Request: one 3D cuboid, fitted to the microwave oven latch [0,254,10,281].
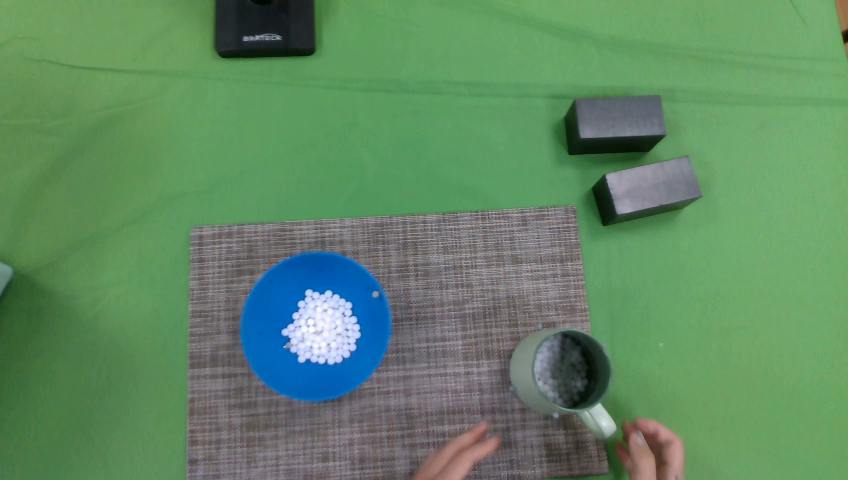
[{"bbox_3d":[-0.475,0.048,0.642,0.030,0.029,0.079,27,79,3],"label":"microwave oven latch"}]

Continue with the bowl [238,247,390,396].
[{"bbox_3d":[-0.111,0.088,0.641,0.151,0.077,0.150,0,78,-2],"label":"bowl"}]

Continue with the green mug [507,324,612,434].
[{"bbox_3d":[0.147,0.144,0.626,0.092,0.105,0.125,-35,81,-9],"label":"green mug"}]
